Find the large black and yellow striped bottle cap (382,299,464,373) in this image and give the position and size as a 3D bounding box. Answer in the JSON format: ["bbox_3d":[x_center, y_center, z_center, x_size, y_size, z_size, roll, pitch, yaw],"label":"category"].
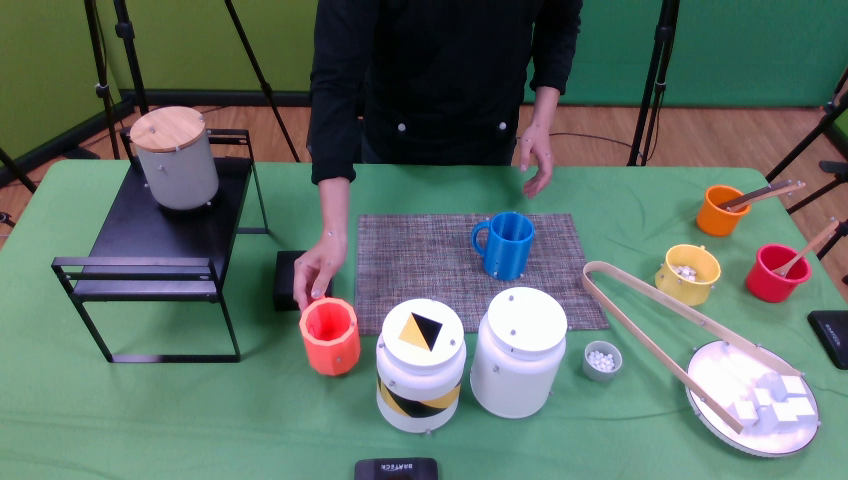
[{"bbox_3d":[-0.002,0.132,0.843,0.115,0.019,0.114,1,46,-1],"label":"large black and yellow striped bottle cap"}]

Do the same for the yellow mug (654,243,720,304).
[{"bbox_3d":[0.504,0.054,1.154,0.099,0.064,0.130,28,50,22],"label":"yellow mug"}]

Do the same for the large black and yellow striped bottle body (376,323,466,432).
[{"bbox_3d":[-0.007,0.189,0.905,0.131,0.185,0.130,2,46,-2],"label":"large black and yellow striped bottle body"}]

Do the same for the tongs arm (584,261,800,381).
[{"bbox_3d":[0.452,0.137,1.064,0.051,0.027,0.382,-34,50,-27],"label":"tongs arm"}]

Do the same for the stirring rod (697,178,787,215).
[{"bbox_3d":[0.650,-0.088,1.246,0.006,0.176,0.014,29,50,-39],"label":"stirring rod"}]

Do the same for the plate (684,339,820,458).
[{"bbox_3d":[0.523,0.256,0.982,0.208,0.039,0.206,2,46,-2],"label":"plate"}]

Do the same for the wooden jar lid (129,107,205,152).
[{"bbox_3d":[-0.385,-0.163,0.915,0.108,0.021,0.107,2,47,-2],"label":"wooden jar lid"}]

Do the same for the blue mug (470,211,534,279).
[{"bbox_3d":[0.141,0.005,1.140,0.116,0.106,0.082,18,48,13],"label":"blue mug"}]

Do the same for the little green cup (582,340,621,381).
[{"bbox_3d":[0.295,0.204,1.014,0.061,0.039,0.061,2,45,-2],"label":"little green cup"}]

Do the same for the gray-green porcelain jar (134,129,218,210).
[{"bbox_3d":[-0.388,-0.120,0.960,0.106,0.127,0.105,2,46,-2],"label":"gray-green porcelain jar"}]

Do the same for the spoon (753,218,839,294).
[{"bbox_3d":[0.700,0.031,1.138,0.194,0.022,0.041,-47,55,14],"label":"spoon"}]

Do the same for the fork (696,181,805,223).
[{"bbox_3d":[0.659,-0.077,1.232,0.207,0.019,0.028,-26,35,34],"label":"fork"}]

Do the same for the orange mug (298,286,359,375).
[{"bbox_3d":[-0.155,0.138,0.965,0.083,0.101,0.125,-16,58,-14],"label":"orange mug"}]

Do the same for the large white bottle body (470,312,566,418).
[{"bbox_3d":[0.143,0.173,0.930,0.131,0.185,0.130,2,46,-2],"label":"large white bottle body"}]

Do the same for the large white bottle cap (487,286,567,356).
[{"bbox_3d":[0.147,0.114,0.869,0.115,0.018,0.114,3,46,-3],"label":"large white bottle cap"}]

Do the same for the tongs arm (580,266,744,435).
[{"bbox_3d":[0.384,0.173,1.029,0.028,0.028,0.385,-25,46,-14],"label":"tongs arm"}]
